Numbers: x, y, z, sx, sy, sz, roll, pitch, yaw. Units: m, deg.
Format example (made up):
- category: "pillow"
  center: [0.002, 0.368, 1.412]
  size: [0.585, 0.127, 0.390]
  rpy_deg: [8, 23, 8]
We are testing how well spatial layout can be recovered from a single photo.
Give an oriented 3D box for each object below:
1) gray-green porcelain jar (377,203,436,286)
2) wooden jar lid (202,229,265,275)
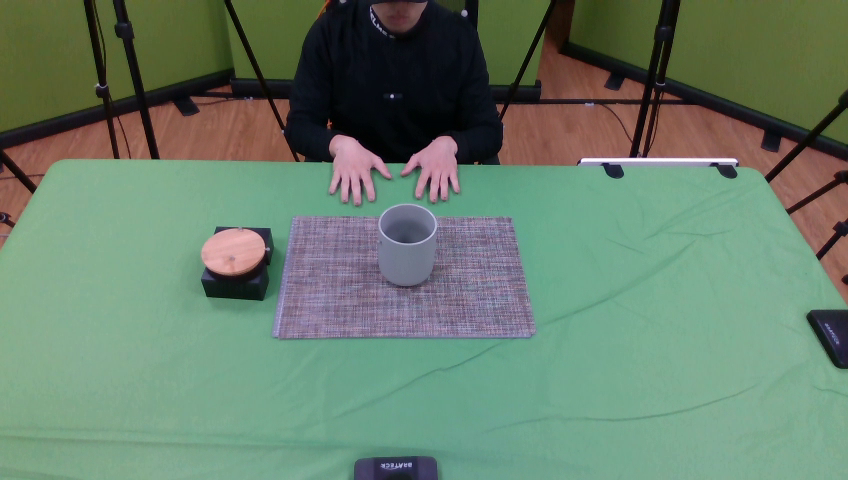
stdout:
- category: "gray-green porcelain jar"
  center: [-0.033, 0.014, 1.106]
  size: [0.106, 0.127, 0.105]
  rpy_deg: [2, 46, -2]
- category: "wooden jar lid"
  center: [-0.340, 0.023, 1.084]
  size: [0.108, 0.021, 0.107]
  rpy_deg: [3, 45, -2]
